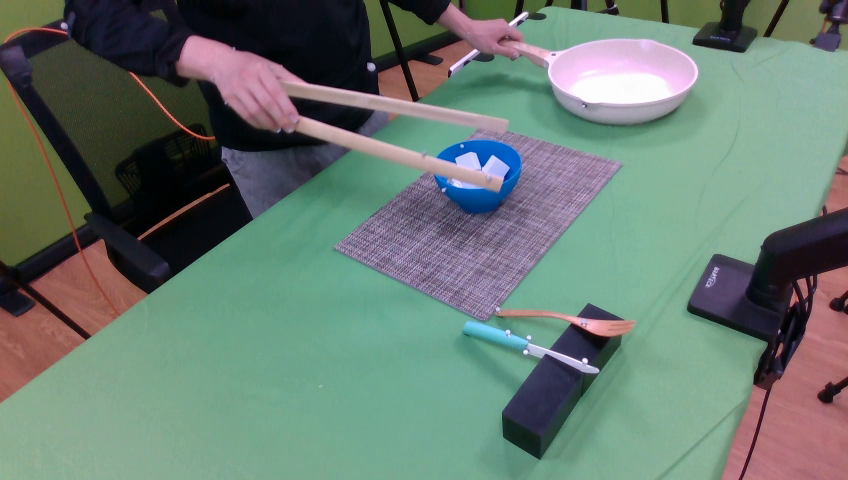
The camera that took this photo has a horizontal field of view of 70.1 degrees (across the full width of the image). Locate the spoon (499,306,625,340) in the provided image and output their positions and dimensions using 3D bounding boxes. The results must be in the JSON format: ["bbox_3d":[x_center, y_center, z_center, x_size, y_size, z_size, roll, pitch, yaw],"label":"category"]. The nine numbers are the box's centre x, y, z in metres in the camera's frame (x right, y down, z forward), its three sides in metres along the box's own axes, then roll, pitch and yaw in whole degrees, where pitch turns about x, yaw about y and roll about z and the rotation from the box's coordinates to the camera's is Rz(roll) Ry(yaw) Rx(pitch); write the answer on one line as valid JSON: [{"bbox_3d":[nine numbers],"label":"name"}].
[{"bbox_3d":[0.169,0.102,0.773,0.042,0.021,0.192,-10,13,-38],"label":"spoon"}]

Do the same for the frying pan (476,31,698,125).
[{"bbox_3d":[0.321,-0.371,1.290,0.484,0.103,0.307,29,51,24],"label":"frying pan"}]

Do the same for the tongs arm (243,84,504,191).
[{"bbox_3d":[-0.073,-0.143,0.846,0.385,0.026,0.050,16,50,0],"label":"tongs arm"}]

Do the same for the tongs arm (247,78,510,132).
[{"bbox_3d":[-0.062,-0.197,0.895,0.389,0.028,0.028,7,54,-7],"label":"tongs arm"}]

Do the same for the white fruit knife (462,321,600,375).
[{"bbox_3d":[0.126,0.132,0.752,0.205,0.027,0.016,12,48,42],"label":"white fruit knife"}]

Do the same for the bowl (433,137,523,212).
[{"bbox_3d":[0.091,-0.100,1.022,0.151,0.077,0.150,-4,41,4],"label":"bowl"}]
